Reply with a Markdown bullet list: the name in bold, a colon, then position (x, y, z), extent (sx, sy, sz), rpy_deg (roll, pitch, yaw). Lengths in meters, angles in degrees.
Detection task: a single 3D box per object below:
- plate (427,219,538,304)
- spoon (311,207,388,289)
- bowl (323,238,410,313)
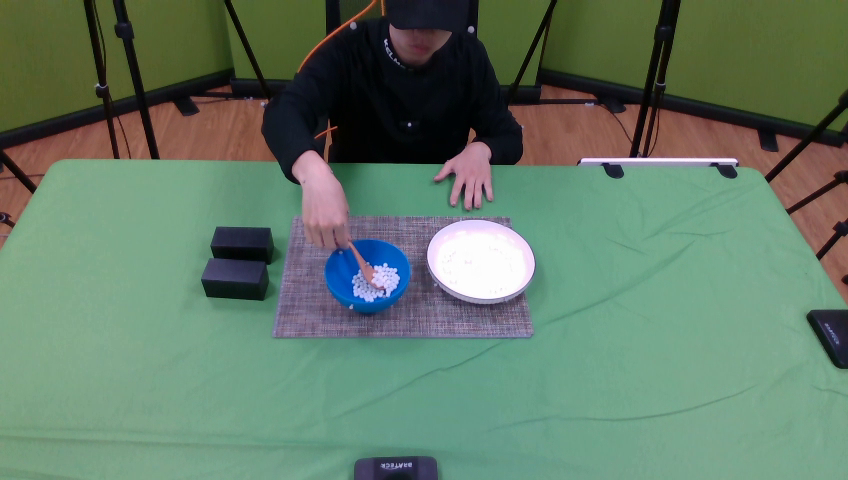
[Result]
- **plate**: position (0.109, 0.044, 1.149), extent (0.208, 0.039, 0.206), rpy_deg (2, 46, -2)
- **spoon**: position (-0.131, 0.014, 1.071), extent (0.194, 0.021, 0.041), rpy_deg (52, 27, -8)
- **bowl**: position (-0.101, 0.077, 1.073), extent (0.151, 0.077, 0.150), rpy_deg (2, 46, -2)
